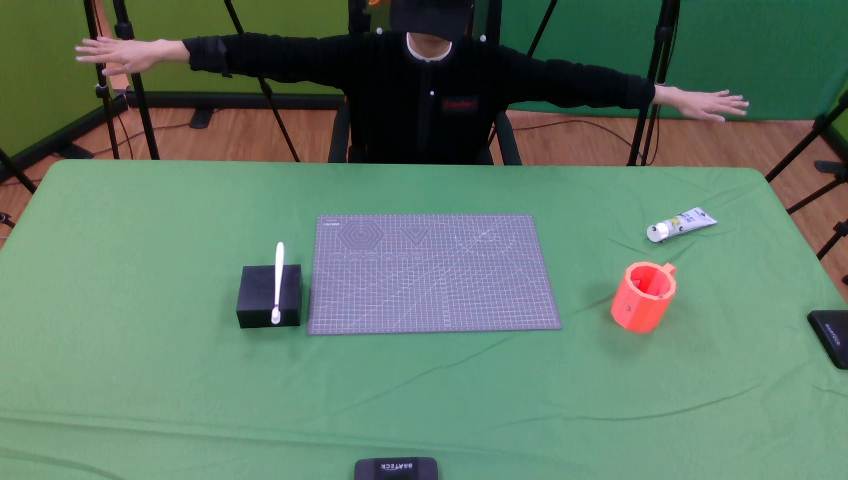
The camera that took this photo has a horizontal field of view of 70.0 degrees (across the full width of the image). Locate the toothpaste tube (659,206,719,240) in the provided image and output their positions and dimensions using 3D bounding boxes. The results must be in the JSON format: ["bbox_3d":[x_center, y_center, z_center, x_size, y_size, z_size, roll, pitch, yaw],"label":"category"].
[{"bbox_3d":[0.542,-0.035,1.259,0.165,0.034,0.054,-19,54,-26],"label":"toothpaste tube"}]

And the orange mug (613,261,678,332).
[{"bbox_3d":[0.403,0.091,1.078,0.126,0.101,0.083,-33,56,-25],"label":"orange mug"}]

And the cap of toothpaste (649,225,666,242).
[{"bbox_3d":[0.473,-0.015,1.226,0.011,0.037,0.037,-20,51,-26],"label":"cap of toothpaste"}]

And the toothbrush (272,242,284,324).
[{"bbox_3d":[-0.253,0.068,1.048,0.014,0.017,0.180,-5,46,-4],"label":"toothbrush"}]
